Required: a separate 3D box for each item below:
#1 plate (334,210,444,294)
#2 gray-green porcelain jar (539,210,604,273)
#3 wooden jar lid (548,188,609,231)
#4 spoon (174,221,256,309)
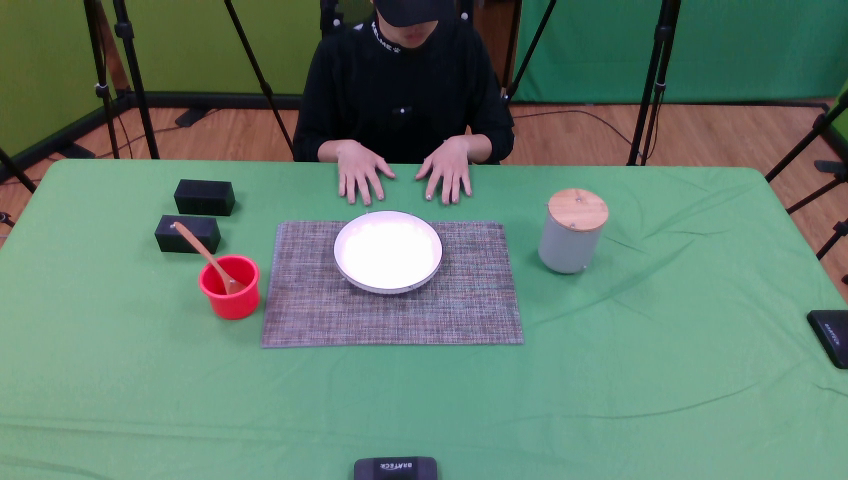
[{"bbox_3d":[-0.066,0.026,1.150,0.208,0.039,0.206,2,46,-2],"label":"plate"},{"bbox_3d":[0.277,-0.007,1.151,0.106,0.127,0.105,2,46,-1],"label":"gray-green porcelain jar"},{"bbox_3d":[0.280,-0.052,1.105,0.108,0.021,0.107,0,48,0],"label":"wooden jar lid"},{"bbox_3d":[-0.360,0.043,1.043,0.194,0.021,0.041,54,51,-14],"label":"spoon"}]
